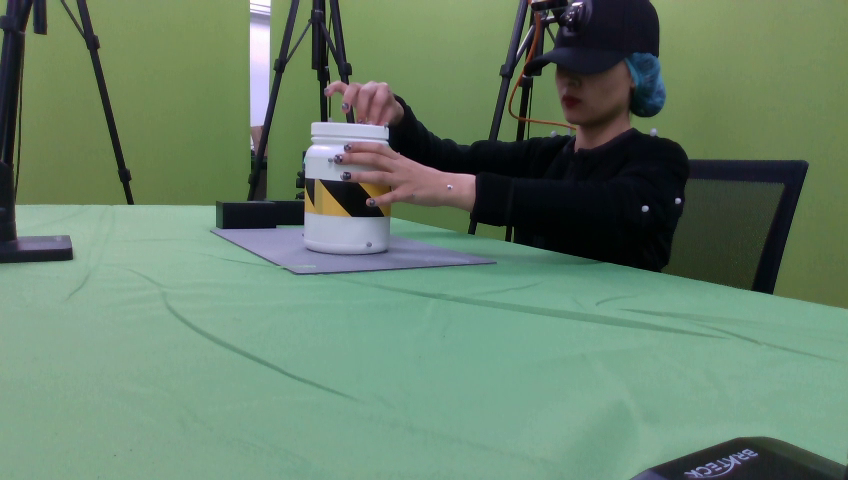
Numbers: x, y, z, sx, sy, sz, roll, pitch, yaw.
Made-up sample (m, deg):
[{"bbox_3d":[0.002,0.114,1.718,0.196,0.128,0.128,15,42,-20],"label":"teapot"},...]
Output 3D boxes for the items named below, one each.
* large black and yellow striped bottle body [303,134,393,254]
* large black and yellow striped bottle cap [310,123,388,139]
[{"bbox_3d":[-0.114,-0.077,0.912,0.131,0.184,0.130,3,8,0],"label":"large black and yellow striped bottle body"},{"bbox_3d":[-0.111,-0.161,0.899,0.115,0.019,0.115,3,6,0],"label":"large black and yellow striped bottle cap"}]
